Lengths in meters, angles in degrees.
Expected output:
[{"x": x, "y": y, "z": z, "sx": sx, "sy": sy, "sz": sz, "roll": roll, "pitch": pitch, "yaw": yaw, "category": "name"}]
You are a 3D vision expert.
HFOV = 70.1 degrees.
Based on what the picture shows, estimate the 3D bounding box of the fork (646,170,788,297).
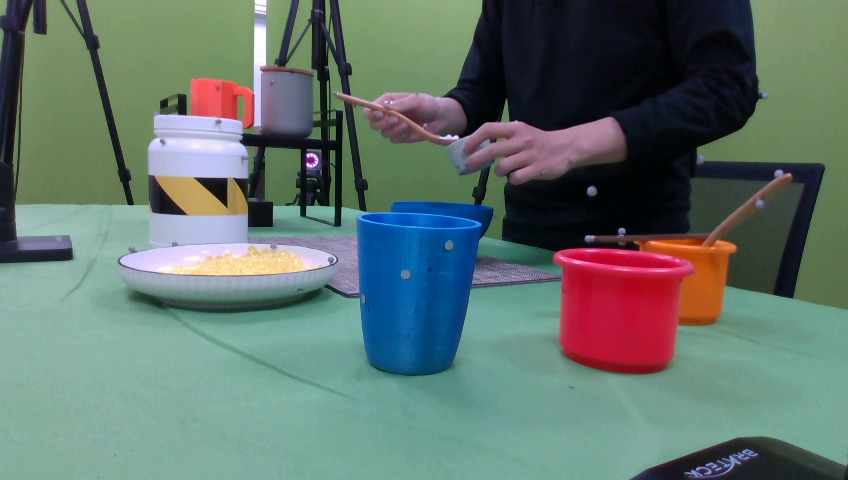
[{"x": 0.256, "y": 0.004, "z": 0.543, "sx": 0.028, "sy": 0.018, "sz": 0.207, "roll": 3, "pitch": -36, "yaw": -9, "category": "fork"}]

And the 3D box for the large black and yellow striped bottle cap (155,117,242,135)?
[{"x": -0.313, "y": -0.159, "z": 0.845, "sx": 0.115, "sy": 0.019, "sz": 0.115, "roll": 3, "pitch": 9, "yaw": 0, "category": "large black and yellow striped bottle cap"}]

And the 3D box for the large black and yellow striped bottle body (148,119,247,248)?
[{"x": -0.318, "y": -0.076, "z": 0.855, "sx": 0.131, "sy": 0.184, "sz": 0.130, "roll": 2, "pitch": 7, "yaw": 0, "category": "large black and yellow striped bottle body"}]

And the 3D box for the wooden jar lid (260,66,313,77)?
[{"x": -0.283, "y": -0.339, "z": 1.244, "sx": 0.108, "sy": 0.020, "sz": 0.108, "roll": 6, "pitch": 9, "yaw": -1, "category": "wooden jar lid"}]

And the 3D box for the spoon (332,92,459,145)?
[{"x": -0.041, "y": -0.173, "z": 0.857, "sx": 0.193, "sy": 0.021, "sz": 0.041, "roll": 26, "pitch": 15, "yaw": 5, "category": "spoon"}]

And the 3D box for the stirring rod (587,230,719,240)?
[{"x": 0.226, "y": -0.005, "z": 0.587, "sx": 0.177, "sy": 0.006, "sz": 0.014, "roll": -2, "pitch": 10, "yaw": -29, "category": "stirring rod"}]

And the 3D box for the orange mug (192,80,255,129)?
[{"x": -0.389, "y": -0.257, "z": 1.172, "sx": 0.126, "sy": 0.100, "sz": 0.083, "roll": -1, "pitch": 6, "yaw": 9, "category": "orange mug"}]

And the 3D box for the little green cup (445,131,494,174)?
[{"x": 0.063, "y": -0.116, "z": 0.809, "sx": 0.061, "sy": 0.038, "sz": 0.061, "roll": -21, "pitch": -4, "yaw": -1, "category": "little green cup"}]

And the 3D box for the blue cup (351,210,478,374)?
[{"x": -0.009, "y": 0.034, "z": 0.414, "sx": 0.093, "sy": 0.100, "sz": 0.092, "roll": 4, "pitch": 8, "yaw": 0, "category": "blue cup"}]

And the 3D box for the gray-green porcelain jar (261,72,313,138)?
[{"x": -0.284, "y": -0.276, "z": 1.253, "sx": 0.106, "sy": 0.126, "sz": 0.106, "roll": 2, "pitch": 8, "yaw": 0, "category": "gray-green porcelain jar"}]

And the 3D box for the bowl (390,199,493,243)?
[{"x": 0.023, "y": -0.015, "z": 0.874, "sx": 0.151, "sy": 0.077, "sz": 0.151, "roll": 3, "pitch": 7, "yaw": 0, "category": "bowl"}]

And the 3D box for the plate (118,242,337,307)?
[{"x": -0.194, "y": 0.033, "z": 0.615, "sx": 0.209, "sy": 0.038, "sz": 0.209, "roll": 2, "pitch": 7, "yaw": 0, "category": "plate"}]
